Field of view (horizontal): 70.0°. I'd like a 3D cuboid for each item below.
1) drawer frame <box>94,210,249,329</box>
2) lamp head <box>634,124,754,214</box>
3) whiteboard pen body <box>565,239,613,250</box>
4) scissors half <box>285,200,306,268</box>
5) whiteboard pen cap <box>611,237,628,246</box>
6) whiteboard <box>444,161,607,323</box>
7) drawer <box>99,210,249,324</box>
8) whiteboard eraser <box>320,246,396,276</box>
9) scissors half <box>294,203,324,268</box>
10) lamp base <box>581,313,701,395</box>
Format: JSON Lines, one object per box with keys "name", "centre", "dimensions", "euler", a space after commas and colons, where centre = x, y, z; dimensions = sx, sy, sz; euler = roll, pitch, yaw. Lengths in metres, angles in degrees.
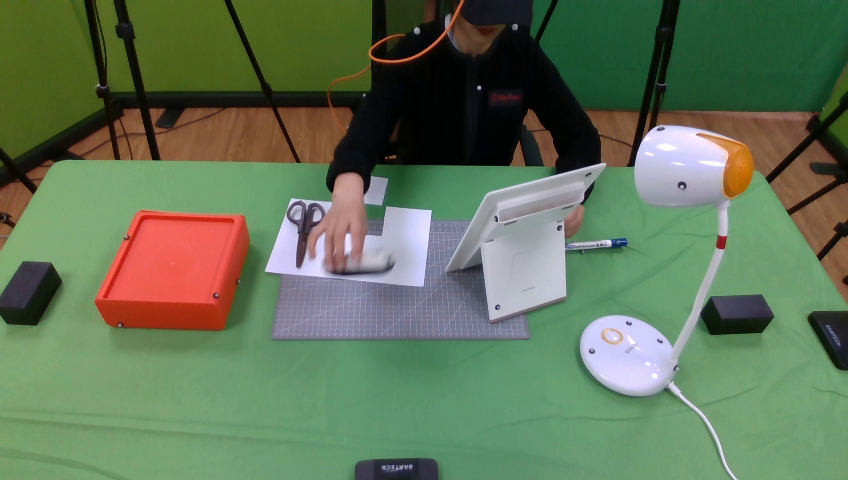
{"name": "drawer frame", "centre": [-0.435, 0.048, 1.076], "dimensions": [0.202, 0.083, 0.212], "euler": [2, 47, -3]}
{"name": "lamp head", "centre": [0.351, -0.089, 0.776], "dimensions": [0.112, 0.113, 0.122], "euler": [-30, 30, -28]}
{"name": "whiteboard pen body", "centre": [0.331, 0.008, 1.212], "dimensions": [0.141, 0.017, 0.017], "euler": [-5, 47, -4]}
{"name": "scissors half", "centre": [-0.250, -0.014, 1.192], "dimensions": [0.040, 0.013, 0.174], "euler": [1, 49, -17]}
{"name": "whiteboard pen cap", "centre": [0.390, 0.004, 1.215], "dimensions": [0.033, 0.018, 0.018], "euler": [-7, 47, -2]}
{"name": "whiteboard", "centre": [0.186, 0.025, 1.029], "dimensions": [0.217, 0.306, 0.143], "euler": [-14, 68, -18]}
{"name": "drawer", "centre": [-0.435, 0.044, 1.081], "dimensions": [0.194, 0.073, 0.210], "euler": [3, 47, -2]}
{"name": "whiteboard eraser", "centre": [-0.106, 0.035, 0.974], "dimensions": [0.112, 0.042, 0.055], "euler": [-5, 9, 18]}
{"name": "scissors half", "centre": [-0.231, -0.010, 1.197], "dimensions": [0.040, 0.013, 0.174], "euler": [19, 46, -7]}
{"name": "lamp base", "centre": [0.361, 0.144, 0.973], "dimensions": [0.178, 0.181, 0.160], "euler": [34, 53, 23]}
